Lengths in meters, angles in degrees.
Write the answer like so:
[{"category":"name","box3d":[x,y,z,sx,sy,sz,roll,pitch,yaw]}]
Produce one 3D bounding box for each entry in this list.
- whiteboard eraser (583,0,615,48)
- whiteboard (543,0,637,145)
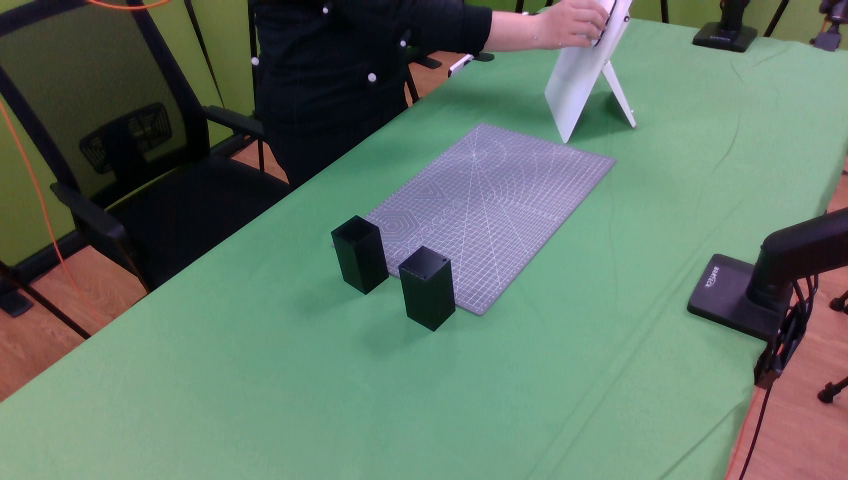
[{"category":"whiteboard eraser","box3d":[0.309,-0.391,1.070,0.019,0.101,0.041,9,39,-11]},{"category":"whiteboard","box3d":[0.365,-0.352,1.160,0.144,0.306,0.216,9,39,-10]}]
